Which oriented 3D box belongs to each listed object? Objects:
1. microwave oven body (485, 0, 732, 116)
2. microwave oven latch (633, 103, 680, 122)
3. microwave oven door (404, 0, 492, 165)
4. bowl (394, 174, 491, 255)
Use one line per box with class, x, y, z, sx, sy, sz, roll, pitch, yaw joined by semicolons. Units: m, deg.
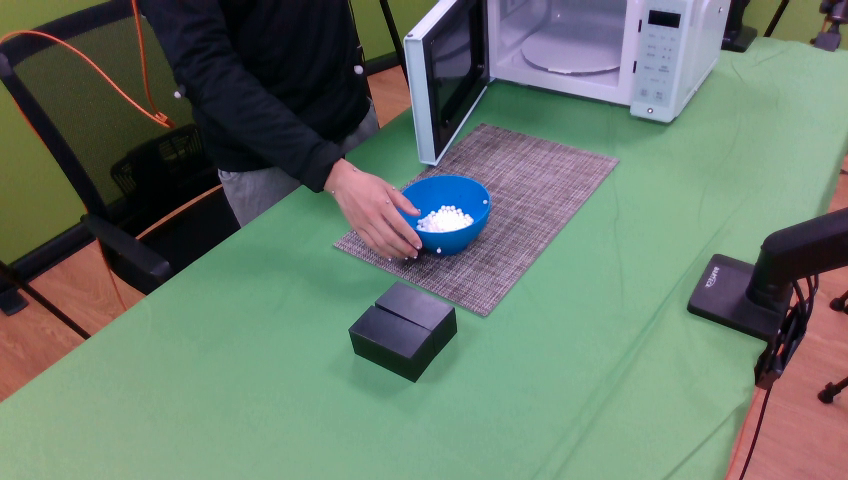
microwave oven body;0.377;-0.462;1.267;0.438;0.261;0.327;21;48;30
microwave oven latch;0.443;-0.249;1.157;0.078;0.029;0.030;21;48;30
microwave oven door;0.058;-0.343;1.165;0.039;0.245;0.356;10;43;20
bowl;0.032;-0.029;0.949;0.151;0.077;0.150;-4;40;4
